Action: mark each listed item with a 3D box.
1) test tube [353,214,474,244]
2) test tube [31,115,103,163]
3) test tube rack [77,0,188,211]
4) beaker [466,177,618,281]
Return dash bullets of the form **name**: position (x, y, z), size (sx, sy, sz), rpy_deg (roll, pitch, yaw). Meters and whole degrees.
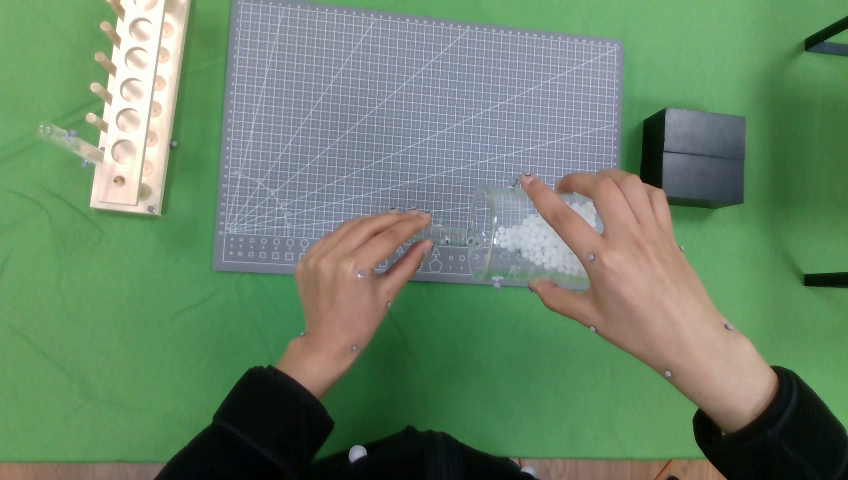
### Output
- **test tube**: position (-0.015, -0.012, 0.544), size (0.017, 0.149, 0.017), rpy_deg (-8, 101, -43)
- **test tube**: position (-0.310, -0.087, 0.542), size (0.017, 0.150, 0.017), rpy_deg (0, 87, -9)
- **test tube rack**: position (-0.289, -0.156, 0.595), size (0.067, 0.085, 0.242), rpy_deg (6, 86, -9)
- **beaker**: position (0.087, -0.005, 0.462), size (0.100, 0.084, 0.074), rpy_deg (4, 83, -9)
